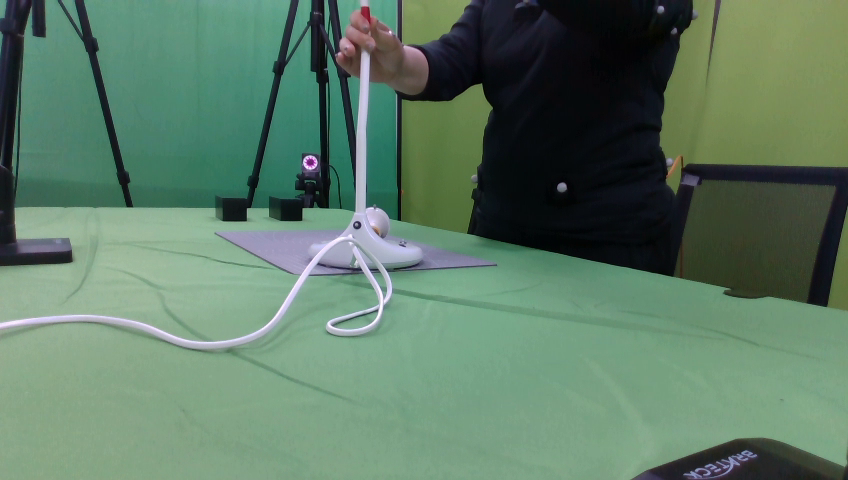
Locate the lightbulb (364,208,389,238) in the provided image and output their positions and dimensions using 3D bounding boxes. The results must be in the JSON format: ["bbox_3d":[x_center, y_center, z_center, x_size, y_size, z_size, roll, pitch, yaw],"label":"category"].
[{"bbox_3d":[-0.089,-0.017,1.019,0.059,0.059,0.107,3,23,-2],"label":"lightbulb"}]

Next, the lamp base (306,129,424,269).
[{"bbox_3d":[-0.077,-0.057,0.810,0.161,0.180,0.179,2,10,-4],"label":"lamp base"}]
